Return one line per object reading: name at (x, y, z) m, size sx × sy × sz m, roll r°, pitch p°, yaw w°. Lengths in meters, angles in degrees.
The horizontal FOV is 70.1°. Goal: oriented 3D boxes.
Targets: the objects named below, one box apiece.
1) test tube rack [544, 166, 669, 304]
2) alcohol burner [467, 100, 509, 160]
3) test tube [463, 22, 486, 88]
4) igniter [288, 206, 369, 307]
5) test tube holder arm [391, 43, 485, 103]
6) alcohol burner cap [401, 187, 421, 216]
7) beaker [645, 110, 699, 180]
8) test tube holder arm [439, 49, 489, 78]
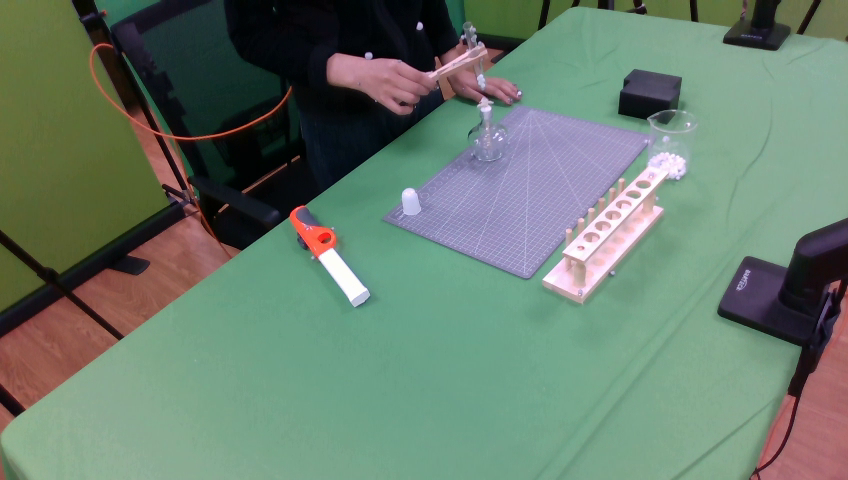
test tube rack at (0.274, -0.018, 0.903) m, size 0.066 × 0.085 × 0.243 m, roll 26°, pitch 51°, yaw 35°
alcohol burner at (0.118, -0.210, 1.131) m, size 0.078 × 0.119 × 0.077 m, roll -6°, pitch 42°, yaw 6°
test tube at (0.086, -0.306, 1.015) m, size 0.017 × 0.151 × 0.017 m, roll -6°, pitch 64°, yaw 13°
igniter at (-0.163, 0.017, 0.986) m, size 0.057 × 0.025 × 0.274 m, roll -33°, pitch 45°, yaw -12°
test tube holder arm at (0.024, -0.280, 1.020) m, size 0.178 × 0.015 × 0.013 m, roll -28°, pitch 60°, yaw 6°
alcohol burner cap at (-0.025, -0.070, 1.048) m, size 0.034 × 0.048 × 0.033 m, roll -5°, pitch 41°, yaw 5°
beaker at (0.417, -0.160, 1.032) m, size 0.083 × 0.101 × 0.074 m, roll 25°, pitch 51°, yaw 35°
test tube holder arm at (0.066, -0.295, 1.012) m, size 0.087 × 0.015 × 0.010 m, roll -21°, pitch 61°, yaw 10°
